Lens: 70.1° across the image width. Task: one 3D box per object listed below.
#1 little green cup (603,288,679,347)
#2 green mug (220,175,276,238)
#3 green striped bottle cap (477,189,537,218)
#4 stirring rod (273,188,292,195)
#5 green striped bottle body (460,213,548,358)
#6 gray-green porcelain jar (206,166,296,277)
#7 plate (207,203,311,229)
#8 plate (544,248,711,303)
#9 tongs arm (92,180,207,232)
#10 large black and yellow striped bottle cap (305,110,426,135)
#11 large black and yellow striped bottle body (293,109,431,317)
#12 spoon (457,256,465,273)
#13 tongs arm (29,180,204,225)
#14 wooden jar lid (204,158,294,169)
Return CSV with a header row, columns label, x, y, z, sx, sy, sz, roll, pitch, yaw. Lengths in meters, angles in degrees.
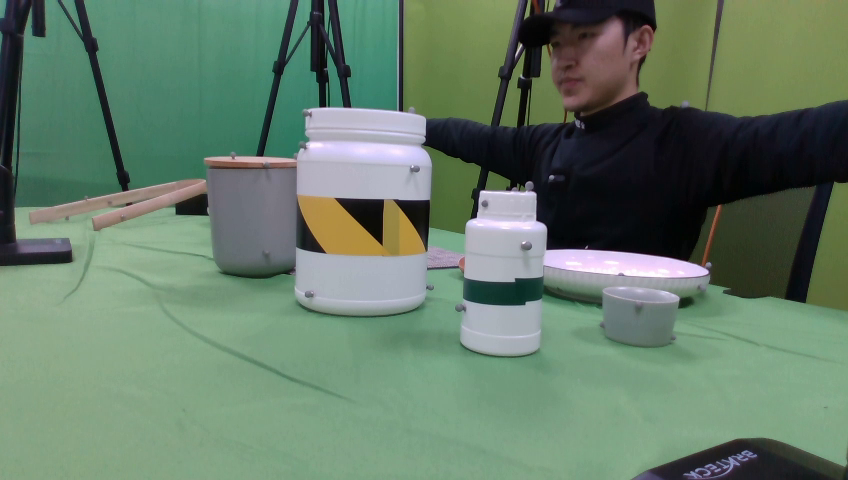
label,x,y,z,sx,sy,sz,roll,pitch,yaw
little green cup,0.180,0.064,0.505,0.061,0.038,0.061,2,7,0
green mug,-0.310,-0.060,1.051,0.093,0.105,0.124,-2,8,-31
green striped bottle cap,0.062,-0.027,0.453,0.044,0.020,0.044,2,5,0
stirring rod,-0.354,-0.122,1.519,0.006,0.014,0.176,2,6,1
green striped bottle body,0.061,0.024,0.460,0.063,0.119,0.063,2,7,0
gray-green porcelain jar,-0.201,-0.024,0.724,0.106,0.126,0.106,-1,9,1
plate,-0.342,-0.050,1.259,0.208,0.039,0.207,2,7,0
plate,0.219,0.041,0.706,0.209,0.038,0.209,2,7,0
tongs arm,-0.534,-0.076,1.221,0.028,0.028,0.388,-2,15,12
large black and yellow striped bottle cap,-0.055,-0.110,0.574,0.115,0.019,0.115,1,7,0
large black and yellow striped bottle body,-0.060,-0.028,0.585,0.131,0.184,0.130,2,7,0
spoon,0.059,0.044,0.696,0.041,0.021,0.193,21,7,0
tongs arm,-0.609,-0.083,1.245,0.050,0.026,0.386,5,16,23
wooden jar lid,-0.202,-0.086,0.714,0.108,0.020,0.108,3,11,0
